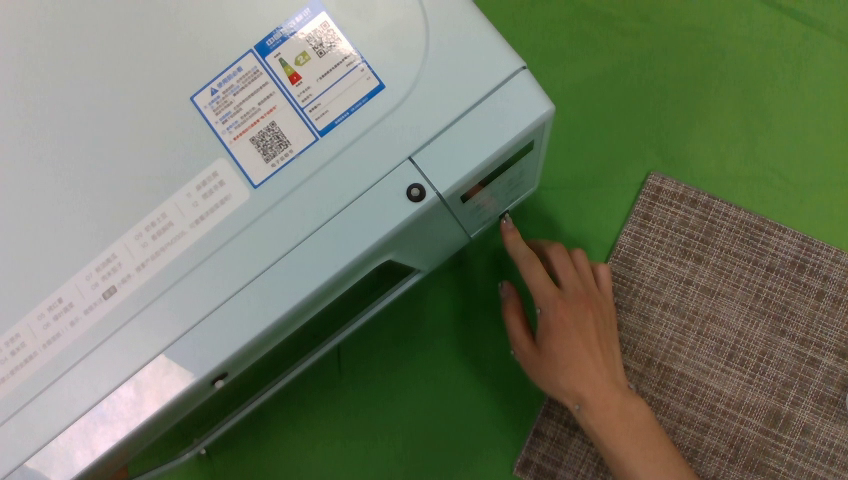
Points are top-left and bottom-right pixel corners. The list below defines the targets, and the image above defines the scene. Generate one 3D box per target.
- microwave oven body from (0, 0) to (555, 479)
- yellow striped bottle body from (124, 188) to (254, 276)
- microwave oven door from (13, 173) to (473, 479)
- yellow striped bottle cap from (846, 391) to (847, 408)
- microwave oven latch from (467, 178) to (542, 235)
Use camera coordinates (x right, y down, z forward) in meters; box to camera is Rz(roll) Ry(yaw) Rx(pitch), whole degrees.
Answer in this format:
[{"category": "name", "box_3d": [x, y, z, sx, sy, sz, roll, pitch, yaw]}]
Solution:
[{"category": "microwave oven body", "box_3d": [-0.176, -0.054, 0.475, 0.442, 0.261, 0.325, -38, 81, 4]}, {"category": "yellow striped bottle body", "box_3d": [-0.185, -0.004, 0.479, 0.063, 0.120, 0.062, 0, 85, 5]}, {"category": "microwave oven door", "box_3d": [-0.122, 0.086, 0.450, 0.356, 0.245, 0.039, -38, 80, 3]}, {"category": "yellow striped bottle cap", "box_3d": [0.379, 0.136, 0.504, 0.044, 0.019, 0.044, -1, 85, 10]}, {"category": "microwave oven latch", "box_3d": [0.067, -0.038, 0.537, 0.079, 0.029, 0.030, -36, 81, 4]}]
